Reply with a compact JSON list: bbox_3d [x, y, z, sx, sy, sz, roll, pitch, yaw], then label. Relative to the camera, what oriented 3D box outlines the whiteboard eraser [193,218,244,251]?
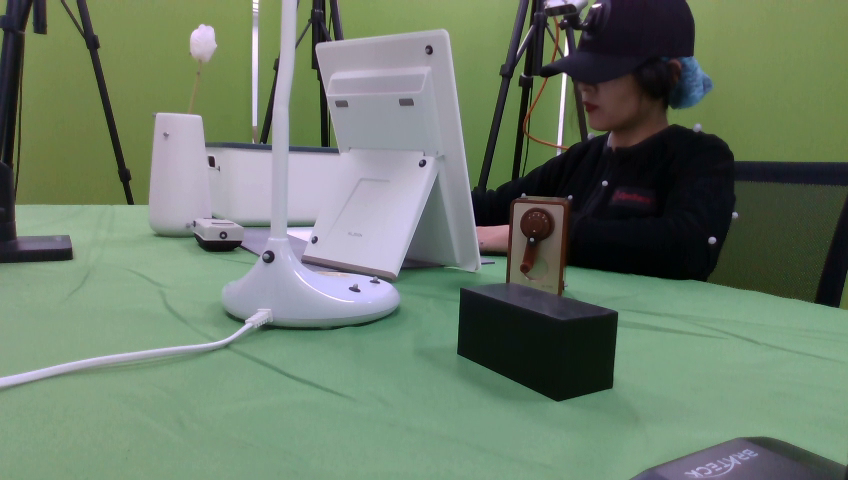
[{"bbox_3d":[-0.307,-0.009,0.900,0.056,0.042,0.112,-4,10,-28],"label":"whiteboard eraser"}]

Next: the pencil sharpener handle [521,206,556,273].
[{"bbox_3d":[0.112,0.000,0.613,0.036,0.067,0.031,13,10,14],"label":"pencil sharpener handle"}]

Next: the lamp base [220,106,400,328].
[{"bbox_3d":[-0.101,-0.023,0.531,0.160,0.180,0.179,4,10,10],"label":"lamp base"}]

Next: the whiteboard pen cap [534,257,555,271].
[{"bbox_3d":[0.166,0.033,0.839,0.018,0.018,0.033,-1,6,-23],"label":"whiteboard pen cap"}]

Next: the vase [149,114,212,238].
[{"bbox_3d":[-0.405,-0.106,1.005,0.098,0.200,0.098,2,6,0],"label":"vase"}]

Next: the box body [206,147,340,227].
[{"bbox_3d":[-0.276,-0.122,1.320,0.366,0.160,0.253,-2,9,-30],"label":"box body"}]

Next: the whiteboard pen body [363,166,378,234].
[{"bbox_3d":[-0.103,-0.077,1.151,0.017,0.140,0.017,4,-22,2],"label":"whiteboard pen body"}]

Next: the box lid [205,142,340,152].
[{"bbox_3d":[-0.270,-0.196,1.311,0.373,0.015,0.262,-2,9,-30],"label":"box lid"}]

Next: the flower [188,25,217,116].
[{"bbox_3d":[-0.394,-0.189,1.011,0.044,0.361,0.038,-1,-13,27],"label":"flower"}]

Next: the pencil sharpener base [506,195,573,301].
[{"bbox_3d":[0.127,0.007,0.663,0.061,0.107,0.077,5,8,15],"label":"pencil sharpener base"}]

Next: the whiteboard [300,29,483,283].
[{"bbox_3d":[-0.074,-0.082,0.742,0.216,0.305,0.144,9,29,38],"label":"whiteboard"}]
